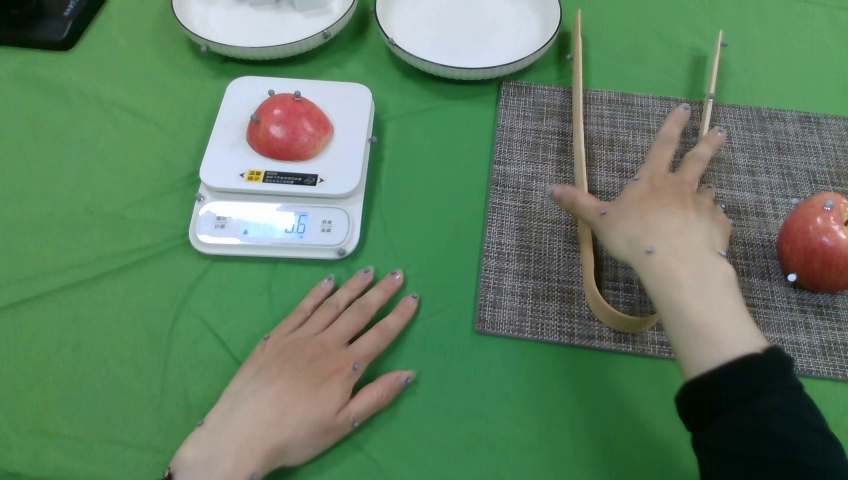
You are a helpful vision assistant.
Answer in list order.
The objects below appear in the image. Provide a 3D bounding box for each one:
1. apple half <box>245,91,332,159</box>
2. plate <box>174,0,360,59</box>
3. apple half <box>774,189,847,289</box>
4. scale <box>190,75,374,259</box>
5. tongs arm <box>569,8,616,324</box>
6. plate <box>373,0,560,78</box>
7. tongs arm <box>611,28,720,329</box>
[{"bbox_3d":[-0.125,-0.112,0.559,0.081,0.033,0.080,0,56,0],"label":"apple half"},{"bbox_3d":[-0.176,-0.275,0.697,0.208,0.039,0.205,1,57,-1],"label":"plate"},{"bbox_3d":[0.324,0.006,0.499,0.053,0.075,0.080,-27,64,-13],"label":"apple half"},{"bbox_3d":[-0.128,-0.075,0.570,0.149,0.032,0.199,3,57,1],"label":"scale"},{"bbox_3d":[0.157,-0.098,0.591,0.028,0.028,0.384,7,57,-1],"label":"tongs arm"},{"bbox_3d":[0.048,-0.252,0.687,0.209,0.038,0.207,1,56,-1],"label":"plate"},{"bbox_3d":[0.239,-0.081,0.579,0.050,0.027,0.382,18,59,9],"label":"tongs arm"}]
